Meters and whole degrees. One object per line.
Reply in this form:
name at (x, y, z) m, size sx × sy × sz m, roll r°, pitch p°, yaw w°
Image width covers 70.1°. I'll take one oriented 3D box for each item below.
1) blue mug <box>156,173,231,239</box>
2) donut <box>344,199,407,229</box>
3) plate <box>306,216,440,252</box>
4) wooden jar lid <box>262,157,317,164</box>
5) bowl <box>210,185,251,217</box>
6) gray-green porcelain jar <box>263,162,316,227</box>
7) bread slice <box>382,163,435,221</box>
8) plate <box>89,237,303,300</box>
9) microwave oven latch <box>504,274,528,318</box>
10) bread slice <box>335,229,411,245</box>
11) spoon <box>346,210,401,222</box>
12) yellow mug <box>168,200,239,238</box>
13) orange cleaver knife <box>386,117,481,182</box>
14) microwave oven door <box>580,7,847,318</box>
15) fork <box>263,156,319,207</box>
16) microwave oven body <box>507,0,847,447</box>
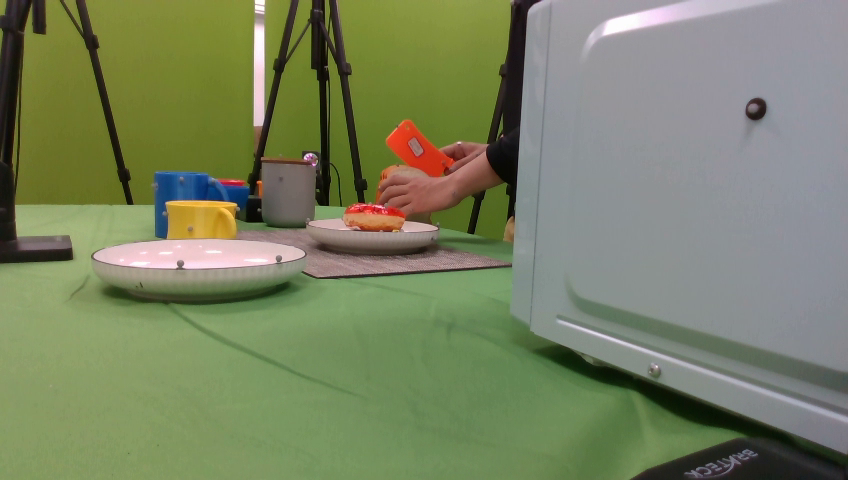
blue mug at (-0.381, -0.057, 1.004) m, size 0.117 × 0.106 × 0.082 m, roll 0°, pitch 8°, yaw -12°
donut at (-0.076, -0.039, 0.948) m, size 0.099 × 0.048 × 0.099 m, roll 2°, pitch 4°, yaw 0°
plate at (-0.079, -0.011, 0.950) m, size 0.209 × 0.038 × 0.209 m, roll 2°, pitch 8°, yaw 0°
wooden jar lid at (-0.269, -0.154, 1.208) m, size 0.108 × 0.020 × 0.108 m, roll 3°, pitch 4°, yaw 0°
bowl at (-0.408, -0.064, 1.155) m, size 0.151 × 0.077 × 0.151 m, roll 2°, pitch 8°, yaw 0°
gray-green porcelain jar at (-0.271, -0.092, 1.217) m, size 0.106 × 0.126 × 0.106 m, roll 2°, pitch 7°, yaw 0°
bread slice at (-0.031, -0.075, 1.119) m, size 0.107 × 0.134 × 0.018 m, roll 0°, pitch -2°, yaw -24°
plate at (-0.233, 0.029, 0.637) m, size 0.208 × 0.039 × 0.207 m, roll 2°, pitch 7°, yaw 0°
microwave oven latch at (0.100, 0.041, 0.471) m, size 0.079 × 0.029 × 0.030 m, roll -1°, pitch 8°, yaw -28°
bread slice at (-0.074, -0.006, 0.938) m, size 0.105 × 0.019 × 0.131 m, roll -2°, pitch 4°, yaw -19°
spoon at (-0.121, -0.060, 1.400) m, size 0.042 × 0.021 × 0.192 m, roll -28°, pitch 25°, yaw -37°
yellow mug at (-0.319, -0.023, 0.904) m, size 0.130 × 0.064 × 0.100 m, roll 9°, pitch 11°, yaw 36°
orange cleaver knife at (0.021, -0.155, 1.157) m, size 0.212 × 0.077 × 0.012 m, roll 32°, pitch -16°, yaw -25°
microwave oven door at (0.295, -0.067, 0.570) m, size 0.358 × 0.243 × 0.039 m, roll -3°, pitch 8°, yaw -31°
fork at (-0.331, -0.144, 1.505) m, size 0.207 × 0.018 × 0.028 m, roll -42°, pitch -20°, yaw 22°
microwave oven body at (0.331, -0.042, 0.425) m, size 0.444 × 0.260 × 0.324 m, roll -2°, pitch 8°, yaw -31°
